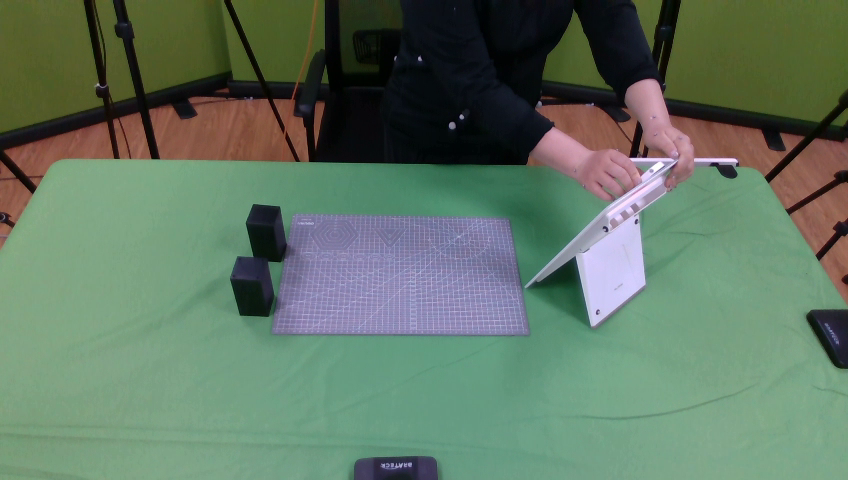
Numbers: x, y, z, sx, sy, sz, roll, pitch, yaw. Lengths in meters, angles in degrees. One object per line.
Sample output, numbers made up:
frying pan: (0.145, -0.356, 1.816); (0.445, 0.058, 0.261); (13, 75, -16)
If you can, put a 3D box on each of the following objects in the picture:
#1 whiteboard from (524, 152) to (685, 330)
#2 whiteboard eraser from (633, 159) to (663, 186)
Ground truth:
whiteboard: (0.346, 0.024, 1.047); (0.217, 0.306, 0.143); (-30, 73, -29)
whiteboard eraser: (0.370, -0.097, 1.027); (0.019, 0.101, 0.041); (41, 51, 14)
